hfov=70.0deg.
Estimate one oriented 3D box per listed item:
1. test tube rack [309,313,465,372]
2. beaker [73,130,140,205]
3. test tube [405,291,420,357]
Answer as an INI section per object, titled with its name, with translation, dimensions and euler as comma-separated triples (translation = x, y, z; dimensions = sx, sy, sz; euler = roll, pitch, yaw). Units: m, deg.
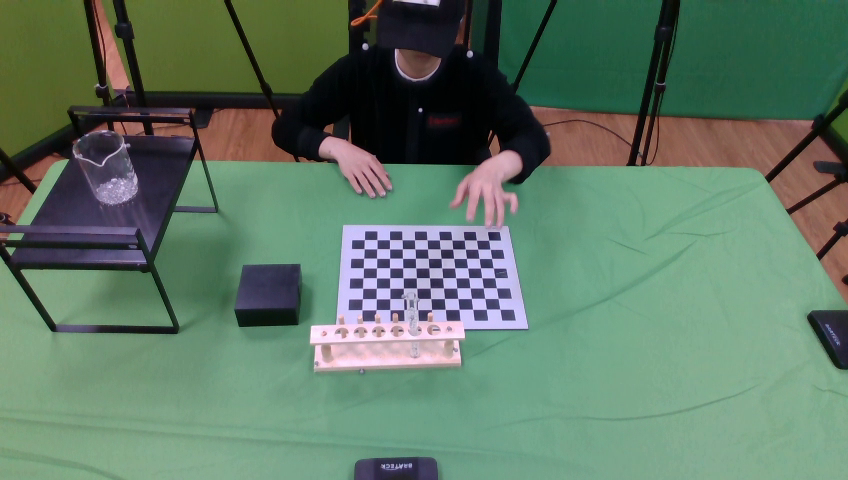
[test tube rack]
translation = -0.059, 0.161, 0.990
dimensions = 0.242, 0.085, 0.066
euler = -1, 46, -5
[beaker]
translation = -0.500, -0.110, 0.963
dimensions = 0.074, 0.101, 0.083
euler = -14, 49, -16
[test tube]
translation = -0.017, 0.135, 0.948
dimensions = 0.017, 0.151, 0.017
euler = -1, 43, 2
